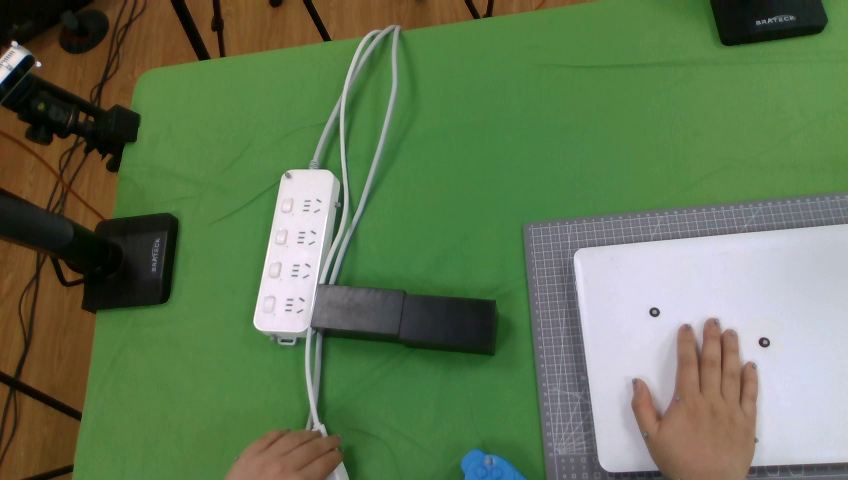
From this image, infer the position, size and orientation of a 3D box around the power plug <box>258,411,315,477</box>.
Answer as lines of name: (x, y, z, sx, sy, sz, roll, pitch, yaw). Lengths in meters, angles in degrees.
power plug: (-0.148, 0.225, 0.662, 0.052, 0.035, 0.072, -9, 27, 31)

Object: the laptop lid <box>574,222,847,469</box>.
laptop lid: (0.341, 0.102, 0.608, 0.356, 0.013, 0.240, -4, 72, 9)

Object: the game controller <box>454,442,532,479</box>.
game controller: (0.038, 0.274, 0.596, 0.155, 0.052, 0.096, -41, 65, -6)

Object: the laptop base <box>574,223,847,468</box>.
laptop base: (0.342, 0.103, 0.618, 0.354, 0.023, 0.234, -5, 72, 8)

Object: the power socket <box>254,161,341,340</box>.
power socket: (-0.151, 0.006, 0.735, 0.072, 0.033, 0.225, 3, 70, 11)

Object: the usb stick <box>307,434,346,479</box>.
usb stick: (-0.099, 0.234, 0.633, 0.021, 0.027, 0.059, -30, 72, 12)
